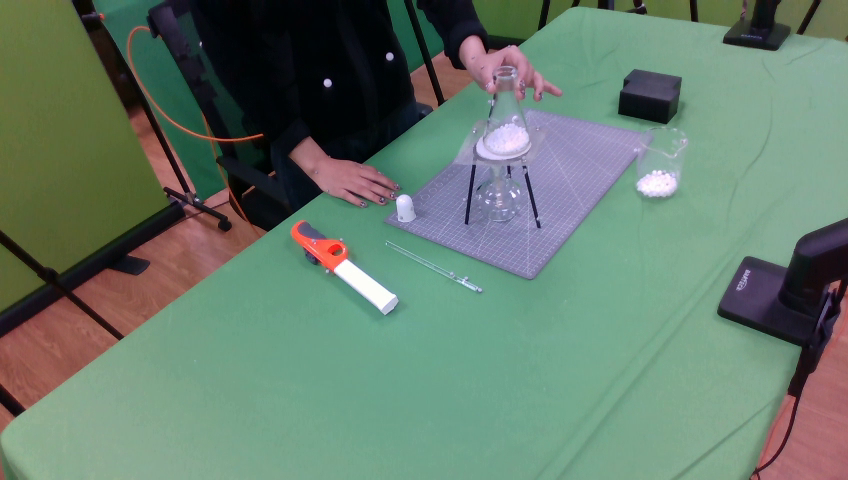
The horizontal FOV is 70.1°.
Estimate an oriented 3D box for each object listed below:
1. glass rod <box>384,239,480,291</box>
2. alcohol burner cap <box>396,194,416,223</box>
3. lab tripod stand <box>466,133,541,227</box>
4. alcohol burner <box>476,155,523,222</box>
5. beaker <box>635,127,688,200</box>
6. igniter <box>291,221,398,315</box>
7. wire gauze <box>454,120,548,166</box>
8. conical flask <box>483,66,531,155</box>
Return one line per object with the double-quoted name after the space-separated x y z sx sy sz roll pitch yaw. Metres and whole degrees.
0.009 0.037 0.949 0.198 0.008 0.008 26 52 34 "glass rod"
-0.033 -0.056 1.036 0.034 0.048 0.033 -6 40 6 "alcohol burner cap"
0.130 -0.099 0.985 0.148 0.132 0.147 -6 38 6 "lab tripod stand"
0.123 -0.089 0.990 0.078 0.120 0.077 -6 41 6 "alcohol burner"
0.388 -0.122 0.994 0.074 0.101 0.083 -8 41 2 "beaker"
-0.136 0.037 0.962 0.057 0.025 0.274 -41 48 -18 "igniter"
0.121 -0.150 0.941 0.121 0.011 0.125 9 43 20 "wire gauze"
0.122 -0.194 0.899 0.075 0.122 0.075 -5 41 5 "conical flask"
